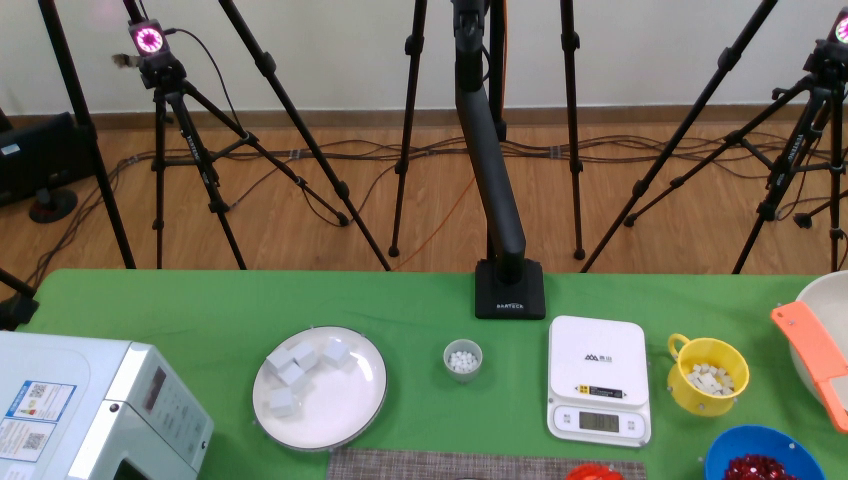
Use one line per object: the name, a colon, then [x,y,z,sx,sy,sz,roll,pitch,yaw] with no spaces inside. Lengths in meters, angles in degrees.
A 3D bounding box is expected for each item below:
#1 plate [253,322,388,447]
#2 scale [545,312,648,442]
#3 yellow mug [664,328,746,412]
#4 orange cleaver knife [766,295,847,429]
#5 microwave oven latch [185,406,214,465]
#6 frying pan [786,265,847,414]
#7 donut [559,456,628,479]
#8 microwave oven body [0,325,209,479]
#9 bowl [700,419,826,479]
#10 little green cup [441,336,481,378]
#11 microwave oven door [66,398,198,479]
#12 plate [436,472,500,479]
plate: [-0.158,0.226,0.946,0.207,0.039,0.205,-2,51,2]
scale: [0.265,0.205,0.937,0.148,0.032,0.199,4,52,8]
yellow mug: [0.413,0.188,0.919,0.100,0.064,0.129,-25,52,-15]
orange cleaver knife: [0.569,0.168,0.874,0.077,0.012,0.209,-5,51,-4]
microwave oven latch: [-0.333,0.285,0.886,0.030,0.030,0.078,5,52,8]
frying pan: [0.729,0.232,0.835,0.307,0.104,0.482,-21,44,-11]
donut: [0.230,0.341,0.816,0.099,0.049,0.098,-4,51,5]
microwave oven body: [-0.507,0.352,0.718,0.326,0.262,0.437,3,52,6]
bowl: [0.435,0.322,0.800,0.151,0.077,0.150,-2,52,3]
little green cup: [0.060,0.188,0.962,0.061,0.039,0.061,-2,50,3]
microwave oven door: [-0.367,0.388,0.671,0.039,0.246,0.352,3,51,7]
plate: [0.058,0.408,0.777,0.209,0.038,0.207,-2,51,2]
